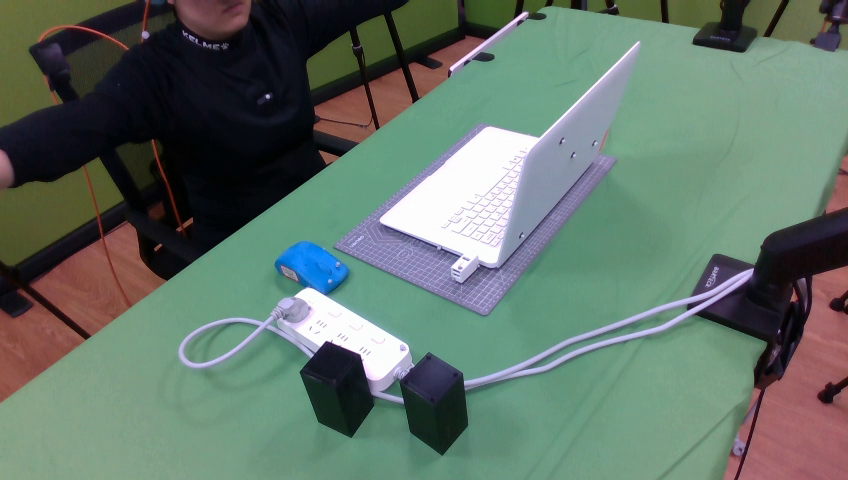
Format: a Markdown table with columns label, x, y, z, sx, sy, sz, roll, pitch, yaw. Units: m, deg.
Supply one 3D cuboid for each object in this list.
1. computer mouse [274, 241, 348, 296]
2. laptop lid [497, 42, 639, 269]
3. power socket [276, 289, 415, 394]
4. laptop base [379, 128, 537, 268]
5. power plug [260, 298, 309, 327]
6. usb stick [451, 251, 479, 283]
| label | x | y | z | sx | sy | sz | roll | pitch | yaw |
| --- | --- | --- | --- | --- | --- | --- | --- | --- | --- |
| computer mouse | -0.175 | 0.040 | 0.936 | 0.116 | 0.041 | 0.063 | 27 | 48 | 27 |
| laptop lid | 0.221 | -0.130 | 0.912 | 0.013 | 0.242 | 0.357 | 31 | 51 | 21 |
| power socket | -0.114 | 0.133 | 0.820 | 0.225 | 0.033 | 0.072 | 25 | 49 | 33 |
| laptop base | 0.118 | -0.088 | 1.058 | 0.233 | 0.023 | 0.355 | 19 | 47 | 32 |
| power plug | -0.193 | 0.107 | 0.831 | 0.073 | 0.053 | 0.035 | -31 | 43 | -25 |
| usb stick | 0.066 | 0.036 | 0.899 | 0.021 | 0.027 | 0.059 | 23 | 45 | 32 |
